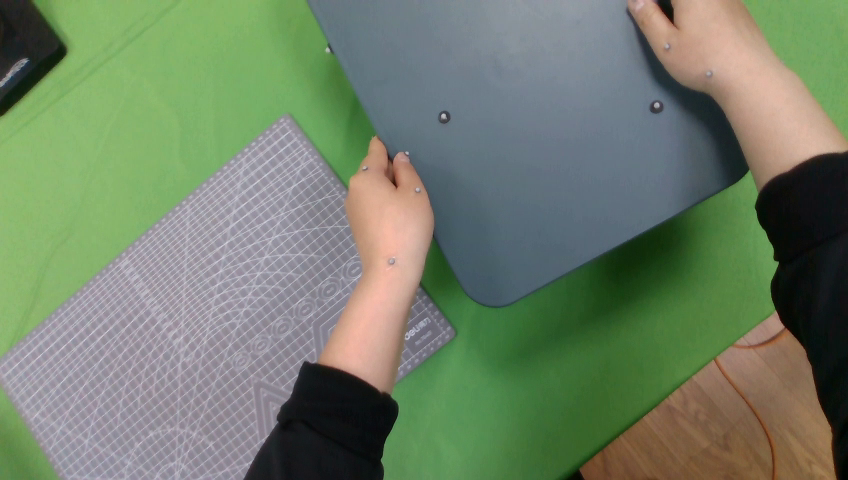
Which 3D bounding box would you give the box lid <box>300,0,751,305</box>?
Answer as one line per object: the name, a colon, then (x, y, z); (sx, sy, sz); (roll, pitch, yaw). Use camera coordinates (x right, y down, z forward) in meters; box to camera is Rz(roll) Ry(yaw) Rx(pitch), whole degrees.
box lid: (0.068, -0.158, 0.515); (0.263, 0.015, 0.370); (-30, 83, 8)
